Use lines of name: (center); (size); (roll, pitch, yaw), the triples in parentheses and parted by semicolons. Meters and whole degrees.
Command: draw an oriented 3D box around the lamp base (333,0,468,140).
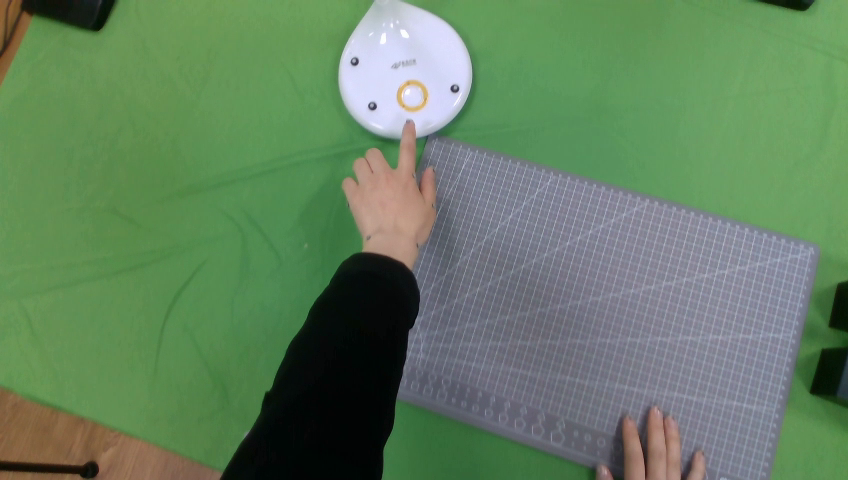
lamp base: (-0.039, -0.222, 0.646); (0.160, 0.181, 0.178); (-24, 75, -1)
